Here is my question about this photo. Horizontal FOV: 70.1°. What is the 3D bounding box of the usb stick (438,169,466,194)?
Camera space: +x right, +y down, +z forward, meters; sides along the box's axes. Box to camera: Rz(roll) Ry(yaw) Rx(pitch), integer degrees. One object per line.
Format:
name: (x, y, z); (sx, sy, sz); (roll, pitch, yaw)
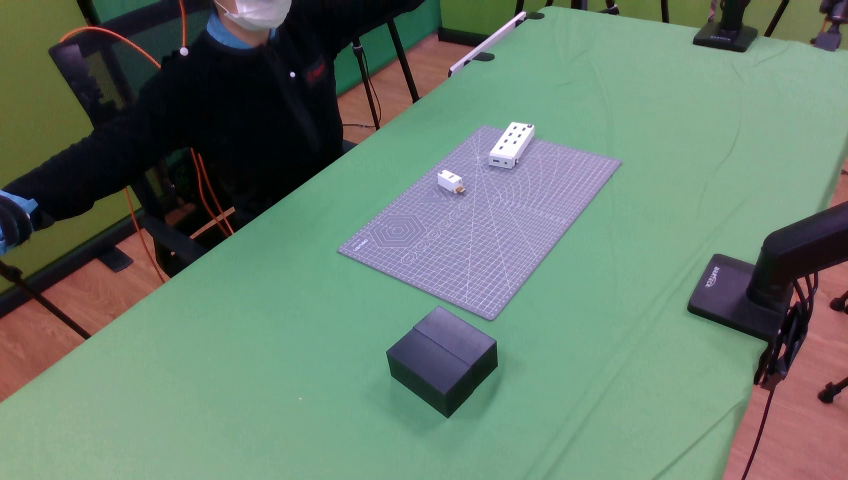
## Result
usb stick: (0.051, -0.102, 1.073); (0.021, 0.027, 0.058); (-32, 49, -28)

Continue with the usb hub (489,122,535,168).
usb hub: (0.169, -0.182, 1.149); (0.049, 0.025, 0.125); (15, 46, 23)
